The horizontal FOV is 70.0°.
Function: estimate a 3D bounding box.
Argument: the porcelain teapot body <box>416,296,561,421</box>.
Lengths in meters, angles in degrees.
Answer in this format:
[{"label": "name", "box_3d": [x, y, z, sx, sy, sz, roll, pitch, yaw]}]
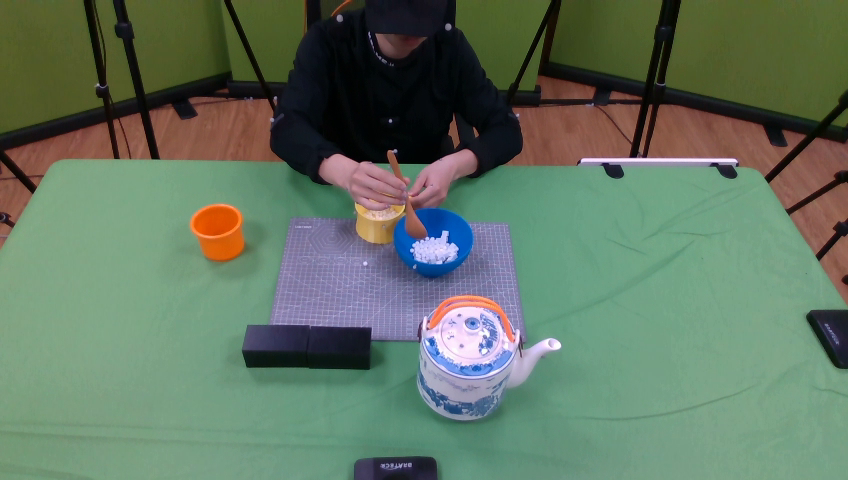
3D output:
[{"label": "porcelain teapot body", "box_3d": [0.094, 0.164, 0.907, 0.205, 0.226, 0.144, 6, 45, 1]}]

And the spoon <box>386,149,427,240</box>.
[{"label": "spoon", "box_3d": [-0.035, -0.074, 1.049, 0.041, 0.195, 0.021, 0, 36, 25]}]

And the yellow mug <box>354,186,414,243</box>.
[{"label": "yellow mug", "box_3d": [-0.076, -0.056, 1.211, 0.131, 0.064, 0.099, -22, 52, -25]}]

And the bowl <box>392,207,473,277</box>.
[{"label": "bowl", "box_3d": [0.014, 0.017, 1.140, 0.151, 0.077, 0.150, 2, 46, -2]}]

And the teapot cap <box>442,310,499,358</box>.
[{"label": "teapot cap", "box_3d": [0.068, 0.133, 0.880, 0.085, 0.044, 0.084, 4, 45, -4]}]
